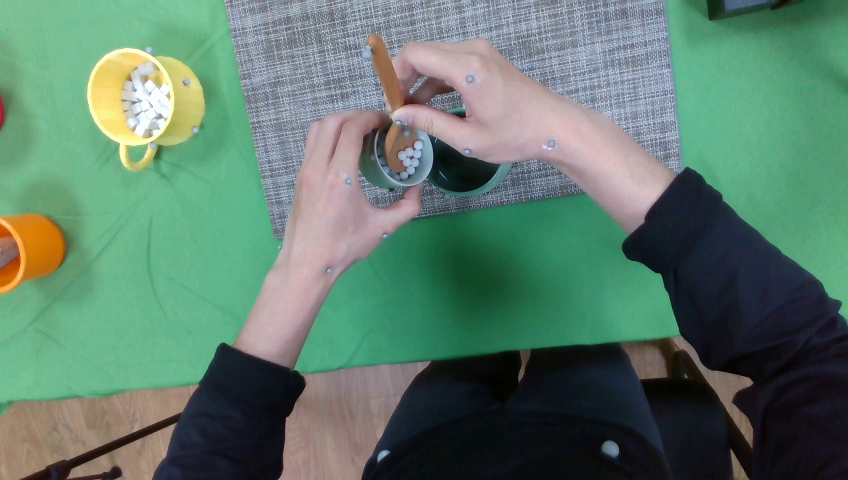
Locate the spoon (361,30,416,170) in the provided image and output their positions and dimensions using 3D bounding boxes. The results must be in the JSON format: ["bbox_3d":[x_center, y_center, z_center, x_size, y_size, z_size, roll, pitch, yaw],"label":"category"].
[{"bbox_3d":[-0.023,-0.098,0.449,0.021,0.194,0.041,34,80,8],"label":"spoon"}]

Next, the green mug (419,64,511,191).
[{"bbox_3d":[0.041,-0.108,0.596,0.092,0.105,0.125,8,101,8],"label":"green mug"}]

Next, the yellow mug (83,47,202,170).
[{"bbox_3d":[-0.310,-0.140,0.665,0.100,0.064,0.131,17,103,5],"label":"yellow mug"}]

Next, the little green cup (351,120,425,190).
[{"bbox_3d":[-0.034,-0.076,0.539,0.062,0.038,0.062,-6,103,-30],"label":"little green cup"}]

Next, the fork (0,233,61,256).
[{"bbox_3d":[-0.530,0.005,0.680,0.209,0.018,0.028,1,100,-36],"label":"fork"}]

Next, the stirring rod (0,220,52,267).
[{"bbox_3d":[-0.502,0.037,0.688,0.014,0.006,0.175,41,61,-2],"label":"stirring rod"}]
